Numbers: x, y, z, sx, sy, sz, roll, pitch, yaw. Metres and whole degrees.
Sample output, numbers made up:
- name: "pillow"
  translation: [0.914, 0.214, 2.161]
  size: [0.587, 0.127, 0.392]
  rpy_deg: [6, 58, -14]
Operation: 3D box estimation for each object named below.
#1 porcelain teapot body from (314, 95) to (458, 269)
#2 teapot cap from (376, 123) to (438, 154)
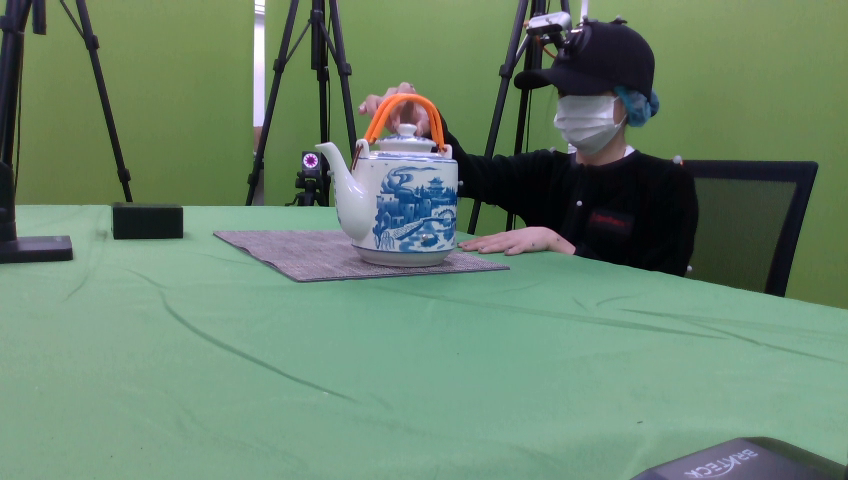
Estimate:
- name: "porcelain teapot body"
  translation: [-0.049, -0.079, 0.800]
  size: [0.206, 0.225, 0.144]
  rpy_deg: [-3, 9, -37]
- name: "teapot cap"
  translation: [-0.022, -0.134, 0.811]
  size: [0.085, 0.044, 0.085]
  rpy_deg: [-3, 4, 1]
